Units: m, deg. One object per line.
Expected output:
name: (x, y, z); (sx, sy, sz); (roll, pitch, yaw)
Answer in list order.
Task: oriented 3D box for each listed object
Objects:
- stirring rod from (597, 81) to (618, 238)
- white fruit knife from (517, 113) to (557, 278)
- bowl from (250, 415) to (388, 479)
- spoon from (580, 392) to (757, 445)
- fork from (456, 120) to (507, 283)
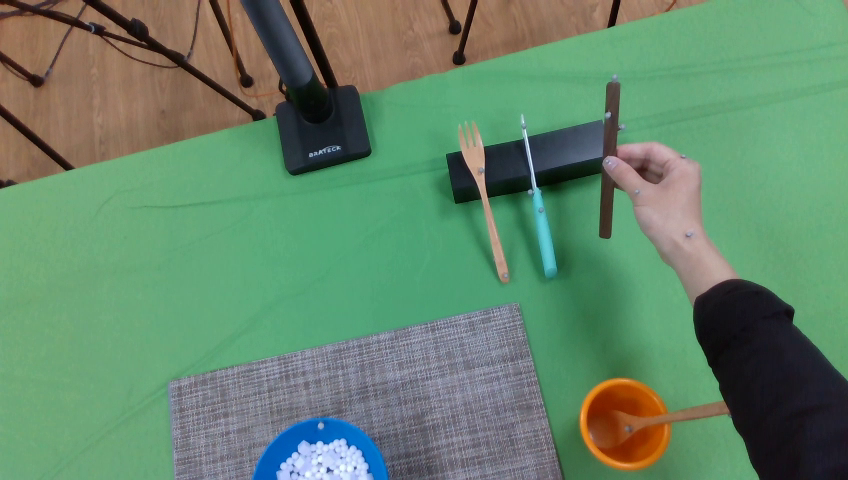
stirring rod: (0.192, -0.079, 0.636); (0.014, 0.177, 0.006); (8, 33, 24)
white fruit knife: (0.136, -0.055, 0.746); (0.016, 0.027, 0.207); (-11, 88, 0)
bowl: (-0.107, 0.273, 0.669); (0.151, 0.077, 0.150); (-2, 72, 7)
spoon: (0.244, 0.182, 0.625); (0.022, 0.193, 0.041); (4, 67, -39)
fork: (0.074, -0.046, 0.751); (0.028, 0.018, 0.207); (-14, 91, -1)
